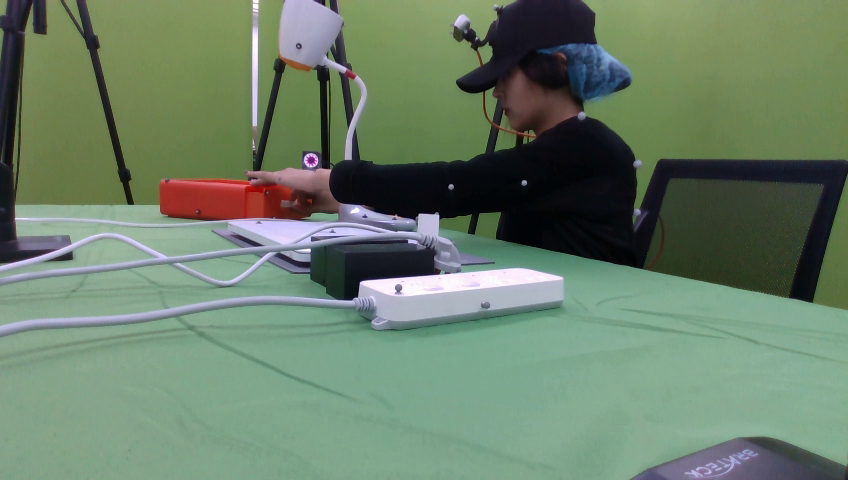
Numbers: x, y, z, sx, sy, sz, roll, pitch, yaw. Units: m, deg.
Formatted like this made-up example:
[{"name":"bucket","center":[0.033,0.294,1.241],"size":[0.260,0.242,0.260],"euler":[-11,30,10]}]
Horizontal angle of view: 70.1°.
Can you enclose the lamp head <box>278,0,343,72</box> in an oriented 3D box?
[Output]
[{"name":"lamp head","center":[-0.218,-0.376,1.128],"size":[0.112,0.123,0.112],"euler":[17,10,-3]}]

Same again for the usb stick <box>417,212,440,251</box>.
[{"name":"usb stick","center":[0.005,-0.003,0.722],"size":[0.027,0.059,0.021],"euler":[0,-3,-3]}]

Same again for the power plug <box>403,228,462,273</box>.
[{"name":"power plug","center":[0.006,0.016,0.647],"size":[0.073,0.052,0.035],"euler":[17,12,-6]}]

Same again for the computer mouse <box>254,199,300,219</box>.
[{"name":"computer mouse","center":[-0.318,-0.068,1.314],"size":[0.063,0.041,0.117],"euler":[2,3,11]}]

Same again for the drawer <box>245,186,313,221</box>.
[{"name":"drawer","center":[-0.380,-0.084,1.317],"size":[0.211,0.073,0.195],"euler":[4,8,18]}]

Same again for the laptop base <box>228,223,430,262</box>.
[{"name":"laptop base","center":[-0.145,0.002,0.943],"size":[0.237,0.023,0.352],"euler":[2,6,-32]}]

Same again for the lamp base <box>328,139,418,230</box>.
[{"name":"lamp base","center":[-0.103,-0.113,1.212],"size":[0.180,0.180,0.160],"euler":[-2,6,-13]}]

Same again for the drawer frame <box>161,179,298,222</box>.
[{"name":"drawer frame","center":[-0.419,-0.089,1.328],"size":[0.213,0.082,0.202],"euler":[4,8,18]}]

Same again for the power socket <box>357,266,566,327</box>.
[{"name":"power socket","center":[0.042,0.049,0.573],"size":[0.228,0.032,0.072],"euler":[-3,8,-34]}]

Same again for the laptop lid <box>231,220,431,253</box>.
[{"name":"laptop lid","center":[-0.142,-0.009,0.942],"size":[0.243,0.013,0.355],"euler":[1,7,-31]}]

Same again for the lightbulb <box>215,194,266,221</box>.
[{"name":"lightbulb","center":[-0.397,-0.076,1.307],"size":[0.108,0.059,0.059],"euler":[-17,13,-16]}]
